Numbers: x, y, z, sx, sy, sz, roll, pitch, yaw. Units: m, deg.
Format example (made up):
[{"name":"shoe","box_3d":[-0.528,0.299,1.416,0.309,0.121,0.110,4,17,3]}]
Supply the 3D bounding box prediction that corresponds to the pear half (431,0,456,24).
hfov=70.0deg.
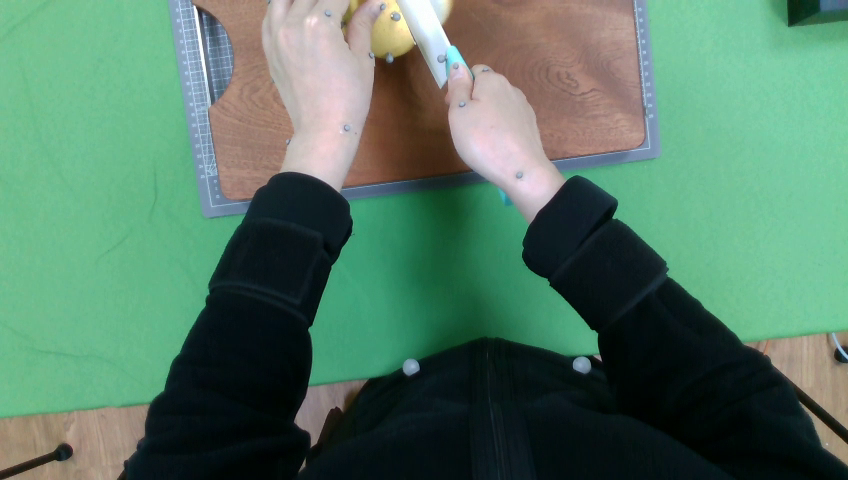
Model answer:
[{"name":"pear half","box_3d":[0.008,-0.223,0.520,0.031,0.088,0.070,-39,93,-38]}]

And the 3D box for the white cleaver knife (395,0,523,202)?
[{"name":"white cleaver knife","box_3d":[0.010,-0.162,0.504,0.021,0.066,0.286,-25,89,-16]}]

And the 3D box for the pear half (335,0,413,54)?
[{"name":"pear half","box_3d":[-0.047,-0.192,0.501,0.056,0.110,0.076,-32,88,4]}]
